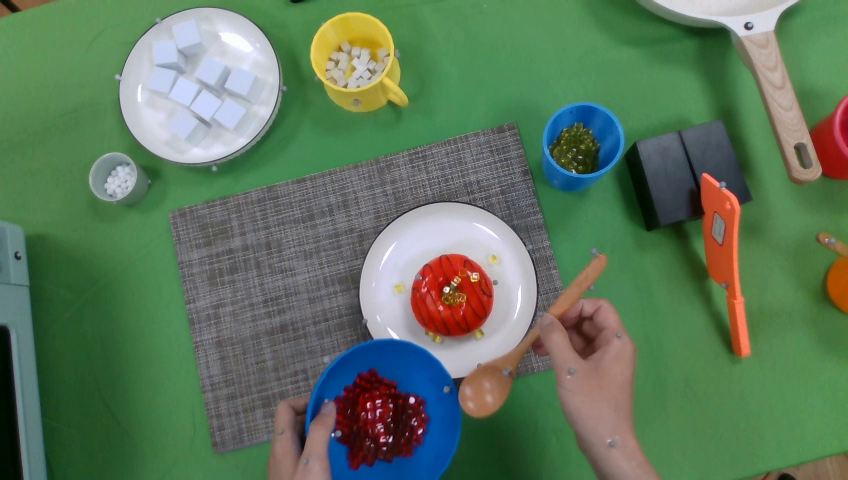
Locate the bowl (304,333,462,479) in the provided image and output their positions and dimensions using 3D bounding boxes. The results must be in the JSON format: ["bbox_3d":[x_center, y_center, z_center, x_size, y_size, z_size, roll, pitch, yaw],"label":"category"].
[{"bbox_3d":[-0.048,0.168,0.594,0.152,0.076,0.151,4,80,-21],"label":"bowl"}]

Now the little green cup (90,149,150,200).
[{"bbox_3d":[-0.377,-0.079,0.757,0.061,0.039,0.061,0,83,3],"label":"little green cup"}]

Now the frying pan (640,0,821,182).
[{"bbox_3d":[0.364,-0.294,0.703,0.307,0.103,0.484,-9,74,4],"label":"frying pan"}]

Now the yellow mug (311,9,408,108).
[{"bbox_3d":[-0.070,-0.212,0.742,0.130,0.064,0.100,39,86,7],"label":"yellow mug"}]

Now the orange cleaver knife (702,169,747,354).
[{"bbox_3d":[0.332,0.026,0.673,0.012,0.076,0.212,-15,110,2],"label":"orange cleaver knife"}]

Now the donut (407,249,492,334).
[{"bbox_3d":[0.029,0.060,0.696,0.099,0.048,0.099,0,86,4],"label":"donut"}]

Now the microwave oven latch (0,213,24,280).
[{"bbox_3d":[-0.509,0.009,0.737,0.030,0.029,0.079,-8,82,2],"label":"microwave oven latch"}]

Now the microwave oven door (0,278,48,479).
[{"bbox_3d":[-0.478,0.207,0.605,0.039,0.244,0.354,-11,81,3],"label":"microwave oven door"}]

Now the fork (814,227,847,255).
[{"bbox_3d":[0.453,0.022,0.631,0.209,0.018,0.028,21,82,-37],"label":"fork"}]

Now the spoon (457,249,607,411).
[{"bbox_3d":[0.094,0.082,0.532,0.041,0.022,0.194,44,114,15],"label":"spoon"}]

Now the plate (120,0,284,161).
[{"bbox_3d":[-0.275,-0.199,0.768,0.207,0.039,0.207,-1,82,4],"label":"plate"}]

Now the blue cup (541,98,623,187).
[{"bbox_3d":[0.172,-0.102,0.692,0.092,0.100,0.092,0,80,3],"label":"blue cup"}]

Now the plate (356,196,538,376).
[{"bbox_3d":[0.026,0.054,0.709,0.209,0.038,0.208,0,83,4],"label":"plate"}]

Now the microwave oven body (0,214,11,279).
[{"bbox_3d":[-0.628,0.195,0.622,0.326,0.261,0.440,-11,82,2],"label":"microwave oven body"}]
